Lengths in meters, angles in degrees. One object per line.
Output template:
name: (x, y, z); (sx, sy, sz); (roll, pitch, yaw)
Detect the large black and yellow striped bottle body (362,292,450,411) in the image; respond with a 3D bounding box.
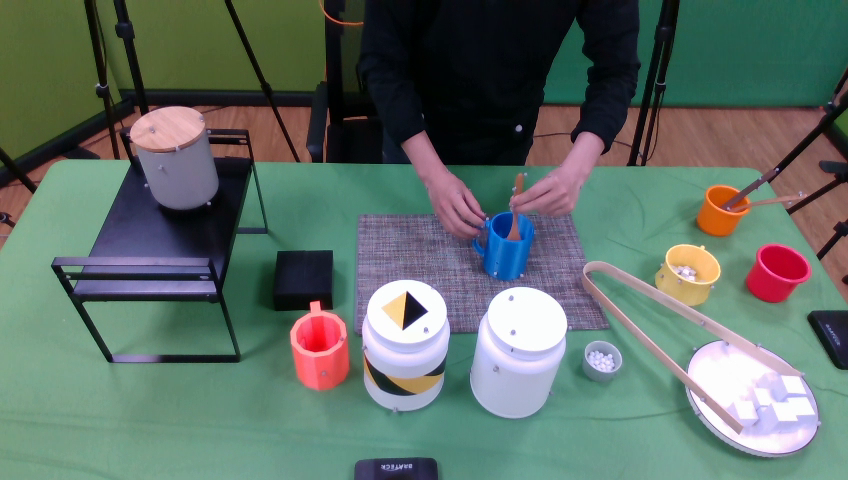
large black and yellow striped bottle body: (-0.029, 0.163, 0.928); (0.131, 0.185, 0.130); (2, 47, -2)

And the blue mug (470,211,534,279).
blue mug: (0.141, 0.005, 1.140); (0.116, 0.106, 0.082); (18, 48, 14)

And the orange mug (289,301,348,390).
orange mug: (-0.170, 0.162, 0.976); (0.083, 0.101, 0.125); (-7, 52, -11)

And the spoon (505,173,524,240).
spoon: (0.159, -0.041, 1.069); (0.041, 0.195, 0.021); (3, 40, 5)

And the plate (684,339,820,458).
plate: (0.523, 0.256, 0.982); (0.208, 0.039, 0.206); (2, 46, -2)

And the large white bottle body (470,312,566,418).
large white bottle body: (0.143, 0.173, 0.930); (0.131, 0.185, 0.130); (2, 46, -2)

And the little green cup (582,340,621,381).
little green cup: (0.295, 0.204, 1.015); (0.061, 0.039, 0.061); (2, 45, -2)

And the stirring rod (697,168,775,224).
stirring rod: (0.644, -0.090, 1.252); (0.176, 0.006, 0.014); (-40, 53, 16)

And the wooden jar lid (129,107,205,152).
wooden jar lid: (-0.385, -0.163, 0.915); (0.108, 0.021, 0.107); (2, 47, -2)

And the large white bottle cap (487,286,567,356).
large white bottle cap: (0.147, 0.114, 0.869); (0.115, 0.018, 0.114); (3, 46, -3)

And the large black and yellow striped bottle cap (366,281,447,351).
large black and yellow striped bottle cap: (-0.025, 0.106, 0.866); (0.115, 0.019, 0.114); (2, 46, -1)

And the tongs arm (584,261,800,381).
tongs arm: (0.452, 0.137, 1.064); (0.051, 0.027, 0.382); (-34, 50, -27)

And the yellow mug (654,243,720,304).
yellow mug: (0.504, 0.054, 1.154); (0.099, 0.064, 0.130); (28, 49, 22)

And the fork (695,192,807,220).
fork: (0.655, -0.069, 1.224); (0.207, 0.019, 0.028); (-17, 34, 45)

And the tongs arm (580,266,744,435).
tongs arm: (0.384, 0.173, 1.028); (0.028, 0.028, 0.385); (-25, 46, -15)

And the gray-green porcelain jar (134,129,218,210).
gray-green porcelain jar: (-0.388, -0.120, 0.960); (0.106, 0.127, 0.105); (3, 46, -2)
